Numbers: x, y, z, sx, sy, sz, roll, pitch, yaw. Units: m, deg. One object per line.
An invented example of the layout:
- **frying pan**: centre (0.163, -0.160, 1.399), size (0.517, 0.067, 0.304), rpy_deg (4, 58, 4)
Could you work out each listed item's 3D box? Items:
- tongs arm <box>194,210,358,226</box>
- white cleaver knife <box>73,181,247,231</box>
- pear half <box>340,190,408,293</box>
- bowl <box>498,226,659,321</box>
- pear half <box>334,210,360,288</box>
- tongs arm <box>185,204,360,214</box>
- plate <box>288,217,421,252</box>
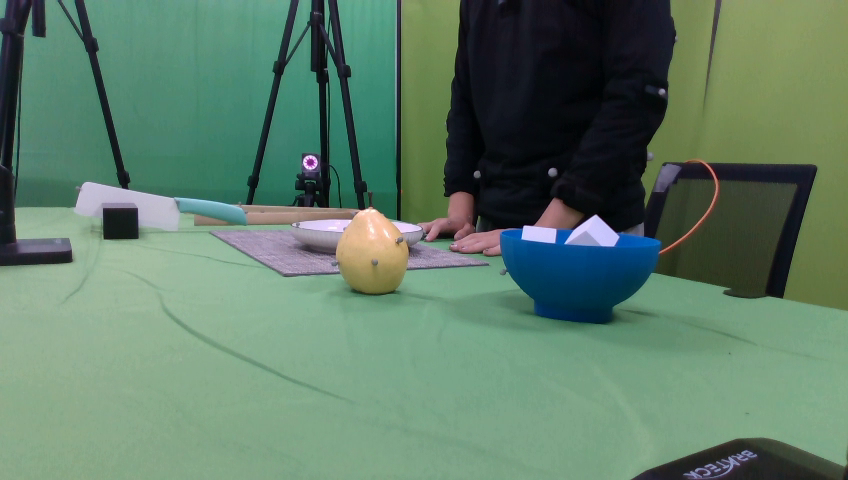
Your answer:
- **tongs arm**: centre (-0.298, -0.050, 1.308), size (0.390, 0.028, 0.028), rpy_deg (-3, 7, -38)
- **white cleaver knife**: centre (-0.465, -0.052, 1.090), size (0.288, 0.066, 0.021), rpy_deg (9, 7, -30)
- **pear half**: centre (-0.047, 0.002, 0.641), size (0.055, 0.110, 0.076), rpy_deg (6, 19, 32)
- **bowl**: centre (0.145, 0.032, 0.584), size (0.151, 0.077, 0.151), rpy_deg (2, 7, 0)
- **pear half**: centre (-0.076, 0.008, 0.663), size (0.031, 0.088, 0.071), rpy_deg (7, 18, 33)
- **tongs arm**: centre (-0.337, -0.065, 1.377), size (0.387, 0.026, 0.050), rpy_deg (0, 9, -25)
- **plate**: centre (-0.109, -0.008, 0.956), size (0.208, 0.039, 0.207), rpy_deg (2, 7, 0)
